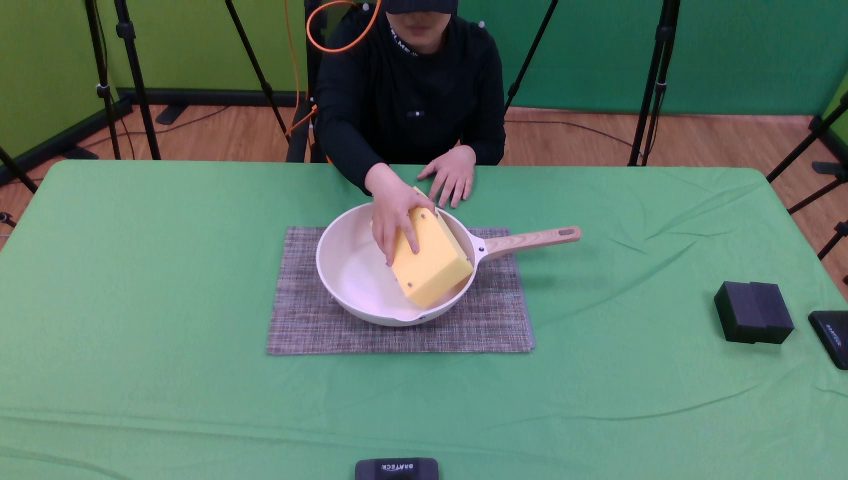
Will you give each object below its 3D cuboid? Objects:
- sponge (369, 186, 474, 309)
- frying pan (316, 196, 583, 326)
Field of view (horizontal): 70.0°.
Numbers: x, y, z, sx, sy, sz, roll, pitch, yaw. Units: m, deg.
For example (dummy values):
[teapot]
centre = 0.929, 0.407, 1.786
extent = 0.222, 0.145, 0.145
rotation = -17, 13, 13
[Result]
[sponge]
centre = -0.010, 0.011, 1.109
extent = 0.118, 0.061, 0.205
rotation = -40, 47, 10
[frying pan]
centre = 0.054, 0.027, 1.114
extent = 0.488, 0.103, 0.304
rotation = -9, 48, -1
